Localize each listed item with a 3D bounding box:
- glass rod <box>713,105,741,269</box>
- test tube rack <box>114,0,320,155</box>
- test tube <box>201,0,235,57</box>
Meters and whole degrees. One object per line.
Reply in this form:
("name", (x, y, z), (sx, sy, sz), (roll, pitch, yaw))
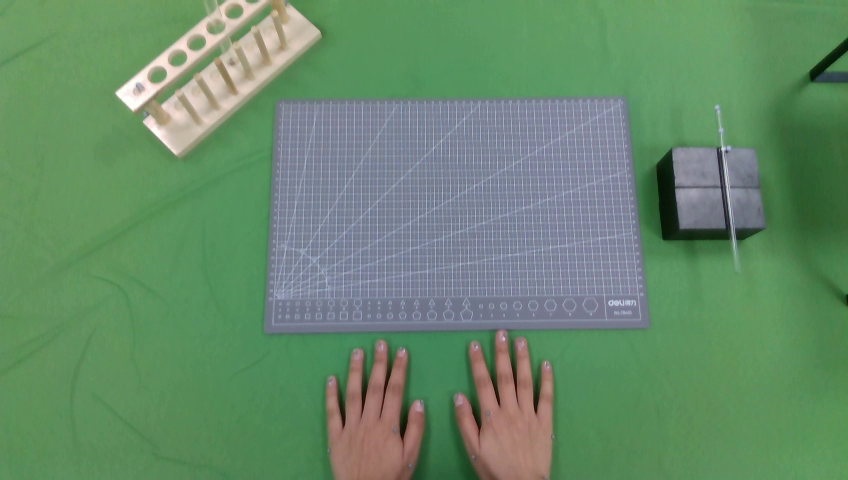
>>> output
("glass rod", (0.348, -0.064, 0.697), (0.008, 0.008, 0.198), (-1, 76, -1))
("test tube rack", (-0.243, -0.221, 0.739), (0.066, 0.085, 0.242), (43, 79, 10))
("test tube", (-0.241, -0.259, 0.697), (0.017, 0.151, 0.017), (1, 72, -4))
